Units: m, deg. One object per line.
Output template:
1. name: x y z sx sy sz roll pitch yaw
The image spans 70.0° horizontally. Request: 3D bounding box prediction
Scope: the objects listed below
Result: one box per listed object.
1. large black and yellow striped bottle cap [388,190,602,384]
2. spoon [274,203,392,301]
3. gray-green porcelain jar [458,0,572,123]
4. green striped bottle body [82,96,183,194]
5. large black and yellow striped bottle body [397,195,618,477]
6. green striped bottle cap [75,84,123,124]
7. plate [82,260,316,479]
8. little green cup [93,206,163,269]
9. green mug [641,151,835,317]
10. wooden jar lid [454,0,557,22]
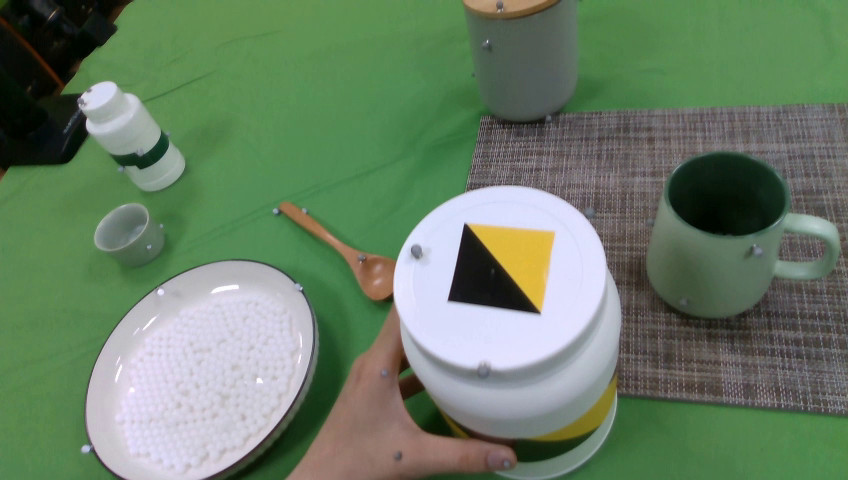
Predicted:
1. large black and yellow striped bottle cap: 0.037 0.021 0.328 0.115 0.019 0.114 -6 55 9
2. spoon: -0.091 0.003 0.589 0.192 0.022 0.041 33 85 32
3. gray-green porcelain jar: 0.095 -0.192 0.611 0.106 0.128 0.105 -7 49 9
4. green striped bottle body: -0.328 -0.111 0.674 0.063 0.120 0.062 -8 53 11
5. large black and yellow striped bottle body: 0.058 0.067 0.395 0.130 0.186 0.129 -7 55 11
6. green striped bottle cap: -0.340 -0.142 0.634 0.044 0.020 0.044 -6 55 9
7. plate: -0.189 0.113 0.526 0.209 0.038 0.207 -7 53 10
8. little green cup: -0.311 -0.001 0.641 0.061 0.039 0.061 -8 52 10
9. green mug: 0.228 0.001 0.446 0.124 0.106 0.092 10 58 22
10. wooden jar lid: 0.082 -0.232 0.563 0.108 0.021 0.107 -9 51 12
